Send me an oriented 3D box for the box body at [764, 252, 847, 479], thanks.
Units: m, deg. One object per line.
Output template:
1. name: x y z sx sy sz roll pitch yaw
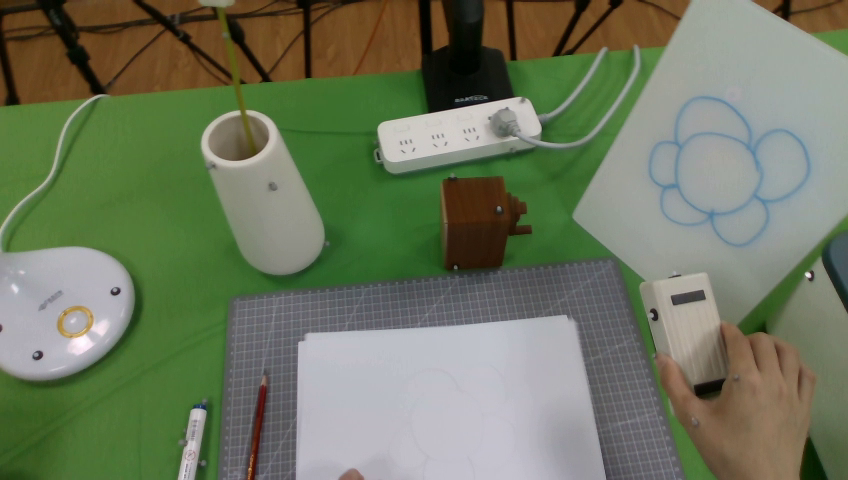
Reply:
1. box body: 0.501 0.172 0.527 0.254 0.162 0.360 -7 60 -3

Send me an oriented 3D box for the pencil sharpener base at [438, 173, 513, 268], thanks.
1. pencil sharpener base: 0.056 -0.020 0.677 0.077 0.108 0.061 -4 59 -2

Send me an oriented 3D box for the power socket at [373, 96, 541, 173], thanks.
1. power socket: 0.045 -0.139 0.791 0.227 0.033 0.071 -11 61 -6

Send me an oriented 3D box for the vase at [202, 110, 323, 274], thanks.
1. vase: -0.169 -0.045 0.641 0.098 0.201 0.097 -1 59 2

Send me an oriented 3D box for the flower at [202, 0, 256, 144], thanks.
1. flower: -0.166 -0.103 0.580 0.038 0.365 0.043 -16 42 -17

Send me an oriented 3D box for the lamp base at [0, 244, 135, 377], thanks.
1. lamp base: -0.417 0.031 0.609 0.178 0.182 0.160 23 62 17

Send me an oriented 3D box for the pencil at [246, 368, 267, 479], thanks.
1. pencil: -0.168 0.218 0.593 0.012 0.012 0.192 0 58 1

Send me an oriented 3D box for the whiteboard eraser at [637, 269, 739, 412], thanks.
1. whiteboard eraser: 0.218 0.083 0.507 0.056 0.042 0.112 -9 79 -14

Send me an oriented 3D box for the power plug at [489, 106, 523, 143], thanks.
1. power plug: 0.101 -0.137 0.762 0.035 0.053 0.072 -2 61 0

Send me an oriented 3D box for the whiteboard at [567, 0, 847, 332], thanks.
1. whiteboard: 0.331 -0.085 0.634 0.144 0.307 0.215 -26 60 -35

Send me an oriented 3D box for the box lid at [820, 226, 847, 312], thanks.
1. box lid: 0.500 0.131 0.464 0.263 0.015 0.368 -6 59 -3

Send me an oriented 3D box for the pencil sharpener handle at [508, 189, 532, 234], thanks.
1. pencil sharpener handle: 0.107 -0.029 0.669 0.030 0.068 0.035 -4 58 -2

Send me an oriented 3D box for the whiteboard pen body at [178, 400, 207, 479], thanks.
1. whiteboard pen body: -0.228 0.224 0.585 0.017 0.017 0.139 -2 56 0
